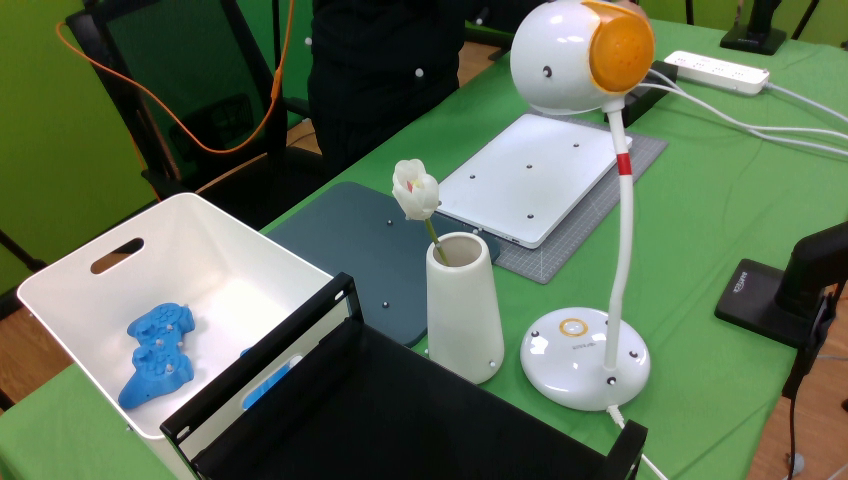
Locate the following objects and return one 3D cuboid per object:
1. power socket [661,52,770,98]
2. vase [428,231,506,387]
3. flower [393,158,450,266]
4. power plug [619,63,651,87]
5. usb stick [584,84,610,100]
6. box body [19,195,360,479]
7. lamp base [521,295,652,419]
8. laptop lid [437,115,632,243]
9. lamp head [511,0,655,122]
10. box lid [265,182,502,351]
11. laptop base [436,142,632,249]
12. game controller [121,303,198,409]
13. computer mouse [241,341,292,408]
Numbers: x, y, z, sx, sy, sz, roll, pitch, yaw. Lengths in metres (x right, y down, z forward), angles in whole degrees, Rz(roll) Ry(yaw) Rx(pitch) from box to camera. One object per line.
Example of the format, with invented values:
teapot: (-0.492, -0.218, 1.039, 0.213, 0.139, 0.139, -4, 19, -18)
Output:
power socket: (0.617, -0.355, 1.292, 0.225, 0.033, 0.072, 29, 53, 35)
vase: (0.050, 0.087, 0.728, 0.098, 0.201, 0.097, -3, 40, 3)
flower: (0.028, 0.035, 0.664, 0.043, 0.364, 0.038, 36, 73, 30)
power plug: (0.435, -0.341, 1.265, 0.035, 0.053, 0.072, 7, 29, -14)
usb stick: (0.353, -0.305, 1.252, 0.027, 0.021, 0.058, -1, -1, -39)
box body: (-0.288, 0.118, 0.772, 0.361, 0.161, 0.255, 26, 50, 33)
lamp base: (0.200, 0.095, 0.710, 0.161, 0.181, 0.177, -16, 43, -10)
laptop lid: (0.189, -0.126, 1.081, 0.239, 0.013, 0.358, 23, 49, 34)
lamp head: (0.155, -0.168, 0.563, 0.113, 0.113, 0.122, -18, 23, -12)
box lid: (-0.087, 0.023, 0.971, 0.368, 0.015, 0.264, 23, 49, 31)
laptop base: (0.192, -0.117, 1.087, 0.233, 0.023, 0.355, 21, 47, 34)
game controller: (-0.364, 0.149, 0.828, 0.097, 0.052, 0.154, -13, 41, -9)
computer mouse: (-0.201, 0.177, 0.775, 0.063, 0.041, 0.116, -11, 44, -8)
